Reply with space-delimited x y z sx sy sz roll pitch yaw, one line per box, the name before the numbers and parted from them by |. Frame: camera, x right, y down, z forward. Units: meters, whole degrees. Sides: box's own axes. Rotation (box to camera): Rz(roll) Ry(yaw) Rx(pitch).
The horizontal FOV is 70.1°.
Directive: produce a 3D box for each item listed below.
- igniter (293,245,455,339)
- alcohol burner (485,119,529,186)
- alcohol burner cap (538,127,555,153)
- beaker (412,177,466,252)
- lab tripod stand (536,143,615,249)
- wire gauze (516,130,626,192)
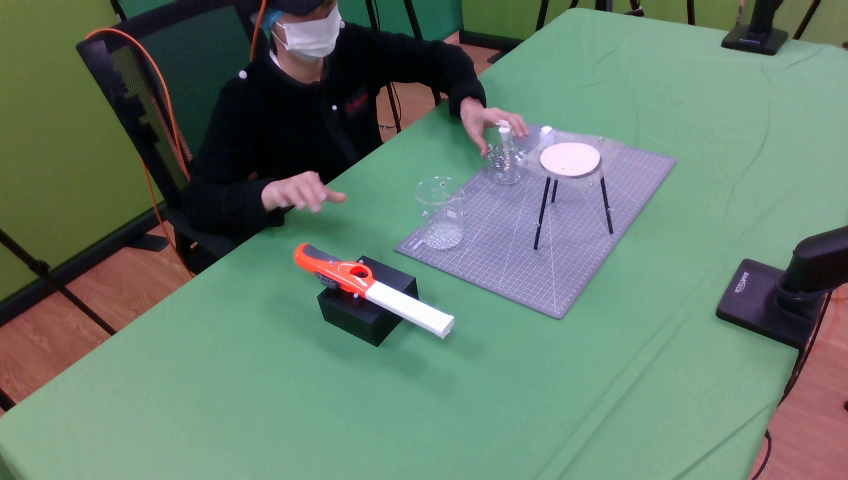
igniter | -0.079 0.066 0.833 0.274 0.025 0.057 23 48 27
alcohol burner | 0.145 -0.157 1.064 0.078 0.119 0.077 -6 39 5
alcohol burner cap | 0.234 -0.191 1.147 0.034 0.048 0.033 -5 40 5
beaker | 0.029 -0.038 0.952 0.083 0.101 0.074 9 43 18
lab tripod stand | 0.224 -0.069 0.931 0.148 0.132 0.147 -4 42 4
wire gauze | 0.216 -0.124 0.892 0.124 0.011 0.122 22 49 31
